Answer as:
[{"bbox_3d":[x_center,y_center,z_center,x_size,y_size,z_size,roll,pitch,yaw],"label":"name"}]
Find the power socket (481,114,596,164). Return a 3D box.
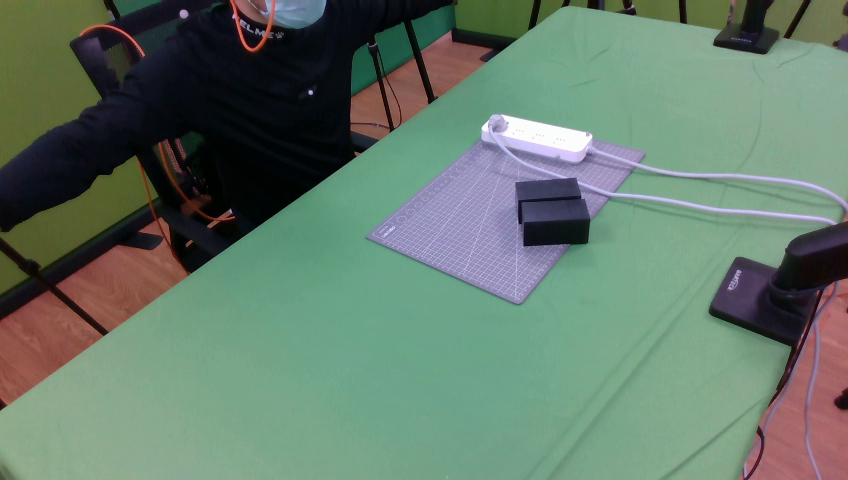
[{"bbox_3d":[0.212,-0.196,1.153,0.225,0.033,0.072,19,48,27],"label":"power socket"}]

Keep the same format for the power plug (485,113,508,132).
[{"bbox_3d":[0.131,-0.214,1.158,0.035,0.053,0.073,29,58,34],"label":"power plug"}]
